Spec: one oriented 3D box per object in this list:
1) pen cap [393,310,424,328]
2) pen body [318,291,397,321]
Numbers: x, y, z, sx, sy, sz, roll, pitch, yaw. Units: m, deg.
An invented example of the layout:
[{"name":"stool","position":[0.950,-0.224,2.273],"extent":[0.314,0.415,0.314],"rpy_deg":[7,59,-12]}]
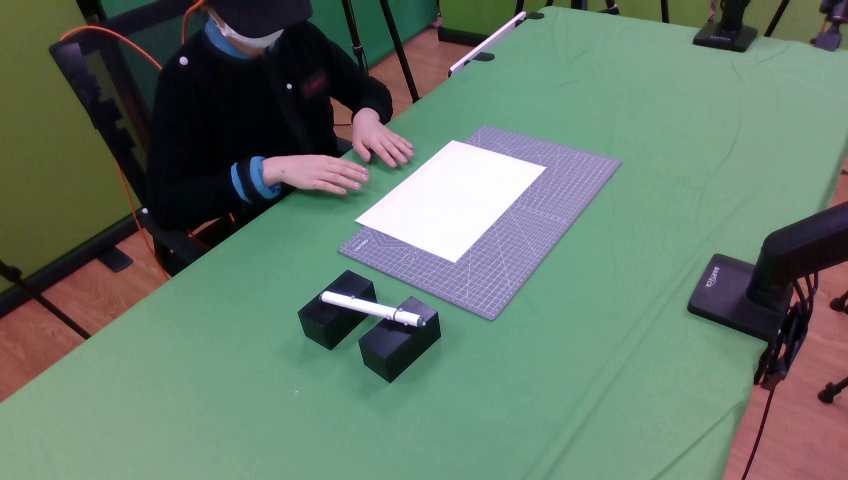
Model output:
[{"name":"pen cap","position":[-0.019,0.102,0.778],"extent":[0.038,0.017,0.017],"rpy_deg":[12,44,21]},{"name":"pen body","position":[-0.076,0.089,0.801],"extent":[0.143,0.017,0.017],"rpy_deg":[12,44,21]}]
